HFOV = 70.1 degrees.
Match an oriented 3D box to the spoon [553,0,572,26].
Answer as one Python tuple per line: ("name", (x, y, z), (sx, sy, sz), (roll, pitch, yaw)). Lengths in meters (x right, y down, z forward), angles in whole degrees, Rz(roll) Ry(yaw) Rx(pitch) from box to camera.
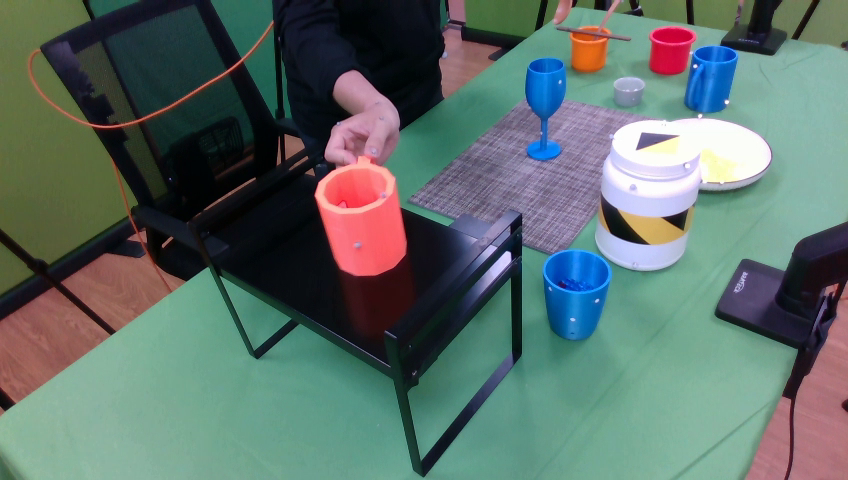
("spoon", (0.241, -0.455, 1.006), (0.022, 0.193, 0.041), (3, 8, -19))

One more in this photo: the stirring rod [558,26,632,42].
("stirring rod", (0.381, -0.463, 1.356), (0.175, 0.006, 0.014), (22, 48, 30))

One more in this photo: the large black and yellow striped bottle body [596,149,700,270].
("large black and yellow striped bottle body", (0.323, -0.062, 0.877), (0.131, 0.185, 0.130), (-5, 40, 4))

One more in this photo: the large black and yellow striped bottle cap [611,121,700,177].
("large black and yellow striped bottle cap", (0.315, -0.126, 0.823), (0.115, 0.019, 0.114), (-4, 42, 4))

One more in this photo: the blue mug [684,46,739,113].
("blue mug", (0.556, -0.310, 1.190), (0.117, 0.106, 0.081), (-32, 46, -25))

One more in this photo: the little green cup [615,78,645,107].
("little green cup", (0.426, -0.306, 1.257), (0.061, 0.039, 0.061), (-4, 40, 4))

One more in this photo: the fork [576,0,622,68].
("fork", (0.409, -0.484, 1.381), (0.028, 0.019, 0.207), (37, 101, 45))

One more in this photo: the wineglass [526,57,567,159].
("wineglass", (0.221, -0.236, 1.097), (0.074, 0.173, 0.073), (-5, 41, 4))

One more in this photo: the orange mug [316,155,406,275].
("orange mug", (-0.067, -0.037, 0.691), (0.083, 0.101, 0.125), (-3, 48, 6))

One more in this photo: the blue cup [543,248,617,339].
("blue cup", (0.199, 0.076, 0.797), (0.092, 0.100, 0.092), (-4, 39, 4))

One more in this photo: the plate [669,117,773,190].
("plate", (0.495, -0.148, 1.063), (0.209, 0.038, 0.208), (-5, 40, 4))
